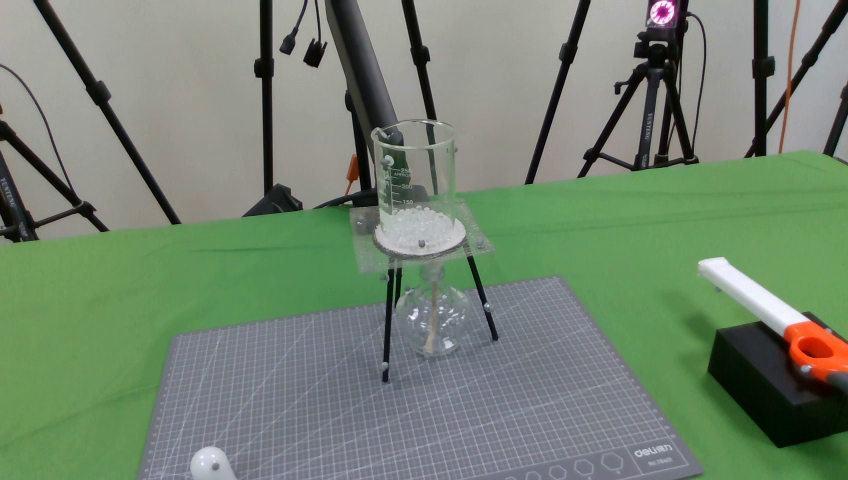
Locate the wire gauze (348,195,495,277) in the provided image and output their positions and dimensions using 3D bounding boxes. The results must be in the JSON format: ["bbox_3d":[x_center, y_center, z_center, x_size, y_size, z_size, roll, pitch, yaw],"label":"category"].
[{"bbox_3d":[-0.008,-0.012,0.568,0.122,0.011,0.123,-8,33,-8],"label":"wire gauze"}]

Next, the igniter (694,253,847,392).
[{"bbox_3d":[0.332,0.082,0.532,0.057,0.025,0.273,-9,28,-9],"label":"igniter"}]

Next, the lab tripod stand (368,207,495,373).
[{"bbox_3d":[0.000,0.043,0.605,0.148,0.132,0.147,-1,29,1],"label":"lab tripod stand"}]

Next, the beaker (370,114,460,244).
[{"bbox_3d":[-0.010,-0.054,0.545,0.083,0.101,0.074,25,39,38],"label":"beaker"}]

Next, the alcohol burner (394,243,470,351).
[{"bbox_3d":[0.008,0.053,0.608,0.078,0.120,0.077,-1,32,1],"label":"alcohol burner"}]

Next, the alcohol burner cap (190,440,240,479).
[{"bbox_3d":[-0.167,0.178,0.478,0.034,0.048,0.033,-1,31,1],"label":"alcohol burner cap"}]
